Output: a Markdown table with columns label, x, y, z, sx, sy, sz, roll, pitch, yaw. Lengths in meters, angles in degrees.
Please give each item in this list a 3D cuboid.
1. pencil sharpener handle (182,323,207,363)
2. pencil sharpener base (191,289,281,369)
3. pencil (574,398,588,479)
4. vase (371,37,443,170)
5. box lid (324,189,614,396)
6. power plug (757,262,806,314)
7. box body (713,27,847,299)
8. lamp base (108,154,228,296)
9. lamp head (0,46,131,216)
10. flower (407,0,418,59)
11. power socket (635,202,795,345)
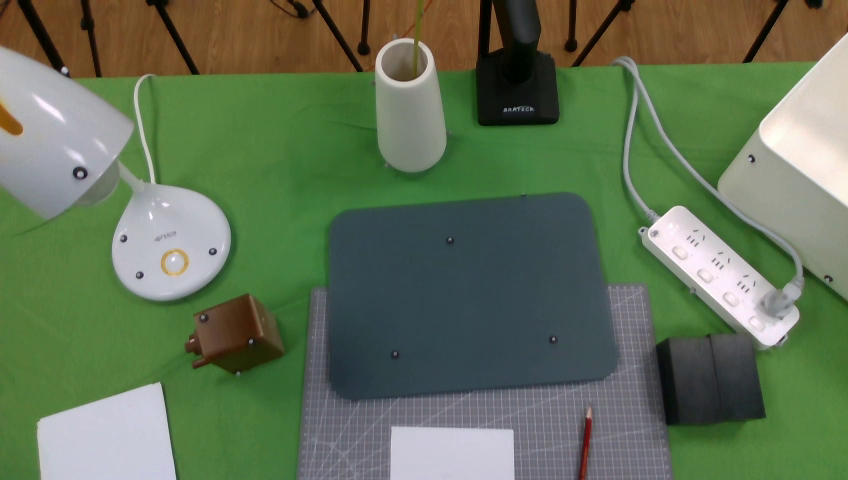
| label | x | y | z | sx | sy | sz | roll | pitch | yaw |
| --- | --- | --- | --- | --- | --- | --- | --- | --- | --- |
| pencil sharpener handle | -0.277 | 0.129 | 0.725 | 0.030 | 0.068 | 0.035 | -21 | 57 | -6 |
| pencil sharpener base | -0.230 | 0.112 | 0.744 | 0.077 | 0.108 | 0.061 | -21 | 70 | -6 |
| pencil | 0.181 | 0.285 | 0.719 | 0.012 | 0.012 | 0.193 | 11 | 72 | 6 |
| vase | -0.023 | -0.174 | 0.798 | 0.098 | 0.201 | 0.097 | 0 | 68 | 0 |
| box lid | 0.054 | 0.062 | 0.807 | 0.372 | 0.015 | 0.261 | -5 | 69 | 0 |
| power plug | 0.452 | 0.066 | 0.762 | 0.072 | 0.053 | 0.035 | -28 | 68 | -13 |
| box body | 0.593 | -0.063 | 0.762 | 0.254 | 0.161 | 0.362 | -43 | 74 | -13 |
| lamp base | -0.359 | -0.037 | 0.763 | 0.160 | 0.181 | 0.178 | -30 | 69 | -10 |
| lamp head | -0.325 | -0.098 | 0.491 | 0.112 | 0.124 | 0.111 | -29 | 35 | 23 |
| flower | -0.016 | -0.217 | 0.725 | 0.044 | 0.364 | 0.038 | -22 | 58 | -23 |
| power socket | 0.382 | 0.042 | 0.797 | 0.072 | 0.033 | 0.225 | -39 | 73 | -13 |
